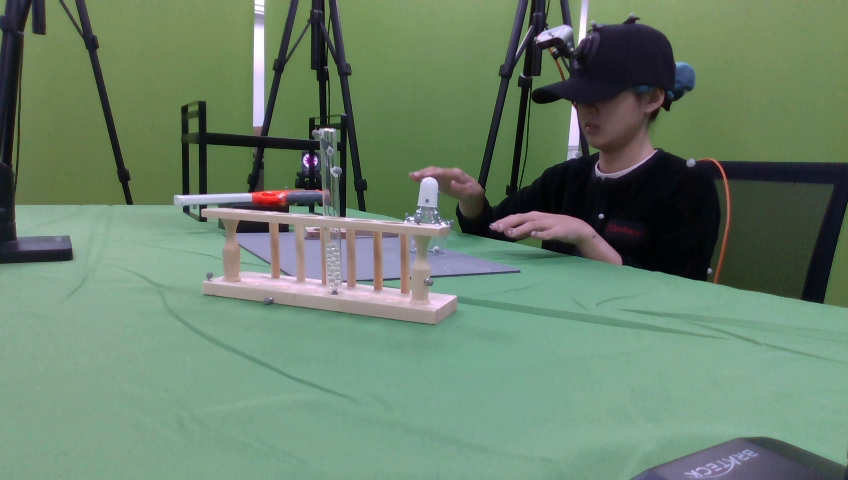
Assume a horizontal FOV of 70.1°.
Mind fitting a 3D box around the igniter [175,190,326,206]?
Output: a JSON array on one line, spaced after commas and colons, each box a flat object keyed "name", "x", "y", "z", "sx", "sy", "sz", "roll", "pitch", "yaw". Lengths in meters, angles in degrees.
[{"name": "igniter", "x": -0.315, "y": -0.079, "z": 1.128, "sx": 0.278, "sy": 0.025, "sz": 0.057, "roll": -5, "pitch": 13, "yaw": -34}]

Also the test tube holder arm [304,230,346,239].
[{"name": "test tube holder arm", "x": -0.162, "y": -0.010, "z": 1.040, "sx": 0.088, "sy": 0.015, "sz": 0.010, "roll": 0, "pitch": 45, "yaw": -32}]

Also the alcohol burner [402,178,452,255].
[{"name": "alcohol burner", "x": 0.005, "y": -0.036, "z": 0.923, "sx": 0.078, "sy": 0.119, "sz": 0.078, "roll": 5, "pitch": 7, "yaw": 0}]

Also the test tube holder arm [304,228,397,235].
[{"name": "test tube holder arm", "x": -0.126, "y": -0.014, "z": 1.068, "sx": 0.179, "sy": 0.015, "sz": 0.013, "roll": -2, "pitch": 45, "yaw": -33}]

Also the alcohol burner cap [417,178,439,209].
[{"name": "alcohol burner cap", "x": 0.008, "y": -0.071, "z": 0.917, "sx": 0.034, "sy": 0.048, "sz": 0.034, "roll": 5, "pitch": 6, "yaw": 0}]

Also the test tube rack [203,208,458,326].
[{"name": "test tube rack", "x": -0.090, "y": 0.019, "z": 0.579, "sx": 0.242, "sy": 0.085, "sz": 0.067, "roll": 5, "pitch": 7, "yaw": 19}]

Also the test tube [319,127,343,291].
[{"name": "test tube", "x": -0.084, "y": -0.027, "z": 0.552, "sx": 0.017, "sy": 0.150, "sz": 0.017, "roll": -1, "pitch": 8, "yaw": 0}]
